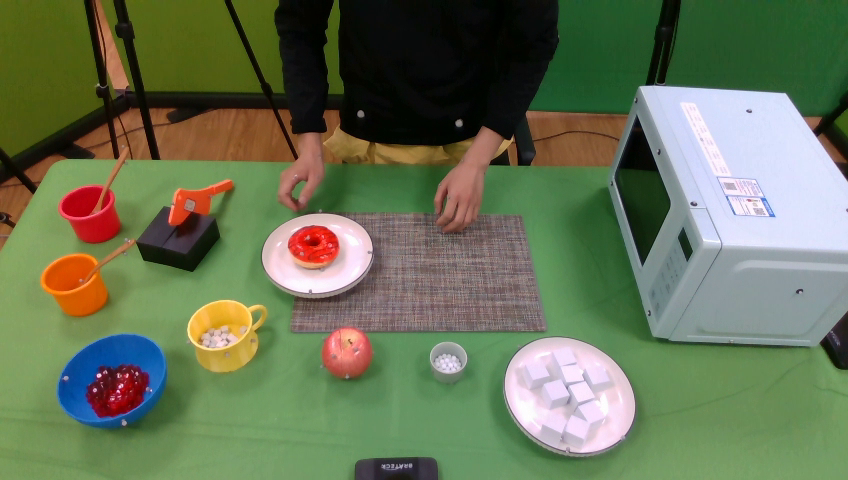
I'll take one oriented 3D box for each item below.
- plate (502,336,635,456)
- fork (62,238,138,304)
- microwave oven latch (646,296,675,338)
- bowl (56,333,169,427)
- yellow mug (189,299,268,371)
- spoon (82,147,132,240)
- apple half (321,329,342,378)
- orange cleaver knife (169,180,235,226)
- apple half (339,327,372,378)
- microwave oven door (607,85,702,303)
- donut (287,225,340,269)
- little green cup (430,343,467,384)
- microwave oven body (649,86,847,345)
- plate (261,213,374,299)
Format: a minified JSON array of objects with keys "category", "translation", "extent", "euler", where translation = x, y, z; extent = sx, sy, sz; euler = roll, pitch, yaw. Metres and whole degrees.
[{"category":"plate","translation":[0.225,0.248,0.963],"extent":[0.208,0.039,0.206],"euler":[2,46,-2]},{"category":"fork","translation":[-0.547,0.053,1.018],"extent":[0.207,0.019,0.028],"euler":[-36,41,23]},{"category":"microwave oven latch","translation":[0.412,0.134,1.061],"extent":[0.030,0.029,0.078],"euler":[3,45,1]},{"category":"bowl","translation":[-0.456,0.223,0.911],"extent":[0.151,0.077,0.150],"euler":[3,46,-2]},{"category":"yellow mug","translation":[-0.316,0.148,1.002],"extent":[0.131,0.064,0.099],"euler":[-33,56,-31]},{"category":"spoon","translation":[-0.602,-0.089,1.156],"extent":[0.041,0.022,0.193],"euler":[27,95,19]},{"category":"apple half","translation":[-0.150,0.186,0.972],"extent":[0.033,0.081,0.080],"euler":[-2,46,-13]},{"category":"orange cleaver knife","translation":[-0.436,-0.076,1.199],"extent":[0.012,0.077,0.211],"euler":[17,17,9]},{"category":"apple half","translation":[-0.111,0.183,0.980],"extent":[0.053,0.075,0.080],"euler":[-2,42,-12]},{"category":"microwave oven door","translation":[0.423,-0.094,1.140],"extent":[0.039,0.245,0.353],"euler":[2,46,-1]},{"category":"donut","translation":[-0.207,0.013,1.139],"extent":[0.099,0.048,0.098],"euler":[3,45,-3]},{"category":"little green cup","translation":[0.039,0.203,0.994],"extent":[0.061,0.039,0.061],"euler":[2,46,-2]},{"category":"microwave oven body","translation":[0.568,-0.053,1.118],"extent":[0.326,0.261,0.439],"euler":[2,45,-1]},{"category":"plate","translation":[-0.198,0.032,1.137],"extent":[0.209,0.038,0.208],"euler":[2,46,-2]}]
